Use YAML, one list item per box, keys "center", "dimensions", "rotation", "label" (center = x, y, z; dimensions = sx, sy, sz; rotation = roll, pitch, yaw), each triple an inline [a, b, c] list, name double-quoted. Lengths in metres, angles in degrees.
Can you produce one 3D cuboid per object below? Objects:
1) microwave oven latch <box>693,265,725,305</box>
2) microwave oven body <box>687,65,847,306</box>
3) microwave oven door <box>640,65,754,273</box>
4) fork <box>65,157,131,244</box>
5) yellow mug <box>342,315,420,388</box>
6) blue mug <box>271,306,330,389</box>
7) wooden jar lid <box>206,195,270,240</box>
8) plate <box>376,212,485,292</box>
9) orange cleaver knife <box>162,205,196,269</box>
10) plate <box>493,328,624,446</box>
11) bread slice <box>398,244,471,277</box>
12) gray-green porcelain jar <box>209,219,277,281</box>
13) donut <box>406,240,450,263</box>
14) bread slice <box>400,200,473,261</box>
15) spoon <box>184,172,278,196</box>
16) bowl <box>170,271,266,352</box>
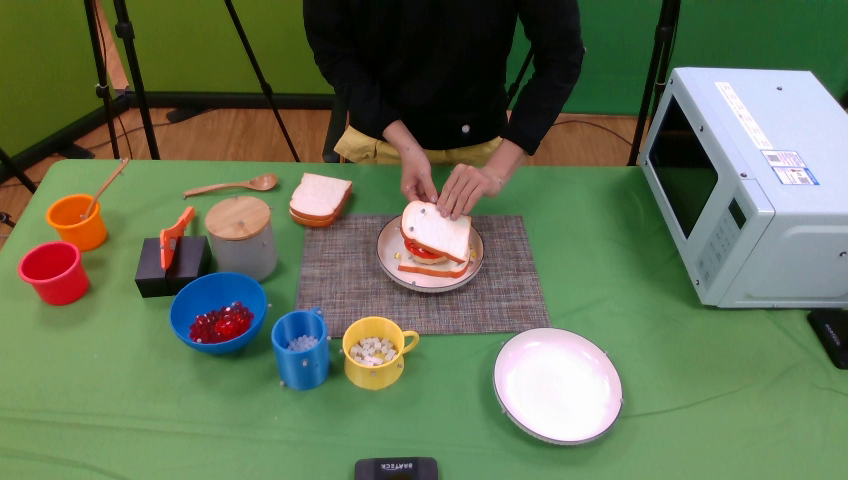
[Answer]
- center: [0.522, 0.081, 1.115]
  dimensions: [0.030, 0.029, 0.078]
  rotation: [2, 46, -1]
  label: "microwave oven latch"
- center: [0.669, -0.111, 1.176]
  dimensions: [0.326, 0.261, 0.439]
  rotation: [0, 46, -3]
  label: "microwave oven body"
- center: [0.523, -0.147, 1.193]
  dimensions: [0.039, 0.245, 0.353]
  rotation: [0, 47, -3]
  label: "microwave oven door"
- center: [-0.608, -0.074, 1.132]
  dimensions: [0.207, 0.019, 0.028]
  rotation: [-52, 48, 10]
  label: "fork"
- center: [-0.068, 0.177, 0.990]
  dimensions: [0.131, 0.064, 0.099]
  rotation: [-16, 50, -19]
  label: "yellow mug"
- center: [-0.188, 0.163, 0.969]
  dimensions: [0.082, 0.106, 0.116]
  rotation: [15, 47, 10]
  label: "blue mug"
- center: [-0.319, -0.036, 1.046]
  dimensions: [0.108, 0.021, 0.107]
  rotation: [1, 44, 0]
  label: "wooden jar lid"
- center: [0.012, 0.021, 1.158]
  dimensions: [0.209, 0.038, 0.208]
  rotation: [2, 46, -2]
  label: "plate"
- center: [-0.454, -0.010, 1.129]
  dimensions: [0.012, 0.077, 0.210]
  rotation: [-1, 20, -6]
  label: "orange cleaver knife"
- center: [0.213, 0.236, 0.974]
  dimensions: [0.208, 0.039, 0.206]
  rotation: [2, 46, -2]
  label: "plate"
- center: [0.025, 0.022, 1.158]
  dimensions: [0.131, 0.019, 0.104]
  rotation: [11, 47, 4]
  label: "bread slice"
- center: [-0.323, 0.007, 1.092]
  dimensions: [0.106, 0.127, 0.105]
  rotation: [2, 46, -2]
  label: "gray-green porcelain jar"
- center: [0.014, 0.004, 1.141]
  dimensions: [0.099, 0.048, 0.098]
  rotation: [-1, 37, 1]
  label: "donut"
- center: [0.022, -0.020, 1.103]
  dimensions: [0.134, 0.018, 0.106]
  rotation: [16, 51, -11]
  label: "bread slice"
- center: [-0.405, -0.116, 1.275]
  dimensions: [0.194, 0.022, 0.041]
  rotation: [-8, 66, -12]
  label: "spoon"
- center: [-0.334, 0.132, 1.006]
  dimensions: [0.151, 0.077, 0.150]
  rotation: [2, 46, -2]
  label: "bowl"
